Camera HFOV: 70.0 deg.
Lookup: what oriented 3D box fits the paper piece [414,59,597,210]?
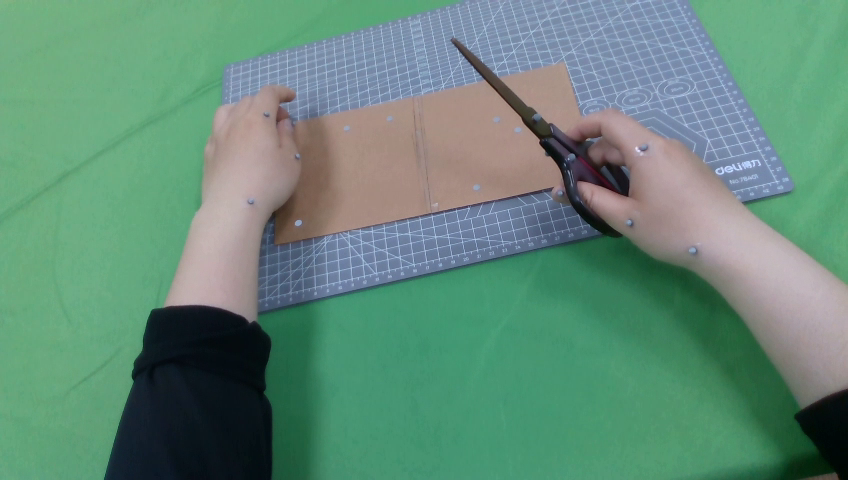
[{"bbox_3d":[0.062,-0.093,0.509,0.135,0.004,0.134,-11,57,7],"label":"paper piece"}]

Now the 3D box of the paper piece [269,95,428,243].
[{"bbox_3d":[-0.068,-0.066,0.525,0.138,0.009,0.134,-11,54,8],"label":"paper piece"}]

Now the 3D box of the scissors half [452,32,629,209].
[{"bbox_3d":[0.083,-0.080,0.413,0.013,0.176,0.039,-29,33,46],"label":"scissors half"}]

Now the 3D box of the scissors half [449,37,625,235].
[{"bbox_3d":[0.077,-0.066,0.401,0.013,0.176,0.040,-33,17,41],"label":"scissors half"}]
